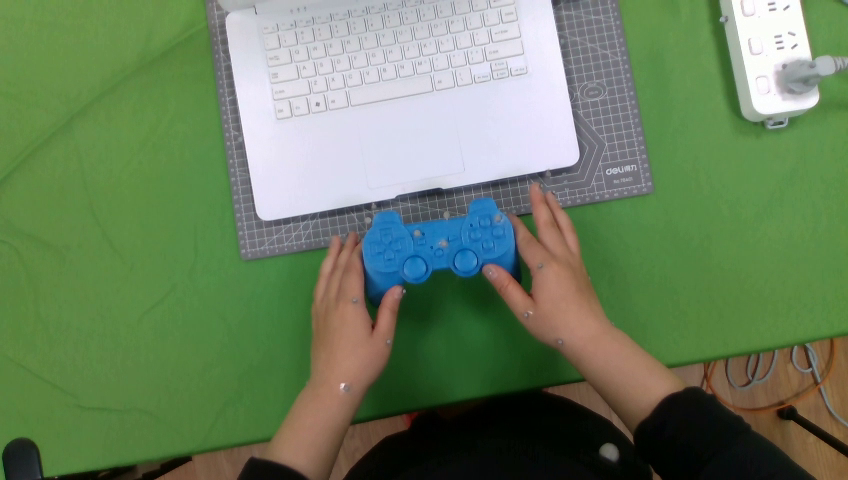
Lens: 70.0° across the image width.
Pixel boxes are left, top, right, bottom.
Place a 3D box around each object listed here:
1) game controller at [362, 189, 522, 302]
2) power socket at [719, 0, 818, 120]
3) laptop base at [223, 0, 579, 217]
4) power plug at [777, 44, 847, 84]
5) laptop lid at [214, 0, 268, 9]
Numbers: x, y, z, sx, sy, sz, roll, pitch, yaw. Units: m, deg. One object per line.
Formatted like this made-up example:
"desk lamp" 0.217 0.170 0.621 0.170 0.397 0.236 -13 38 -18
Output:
"game controller" 0.015 0.006 0.582 0.155 0.051 0.097 -8 95 2
"power socket" 0.356 -0.242 0.640 0.072 0.032 0.226 -9 85 3
"laptop base" -0.028 -0.170 0.658 0.354 0.023 0.235 -11 89 1
"power plug" 0.397 -0.176 0.614 0.072 0.053 0.035 2 85 -2
"laptop lid" -0.060 -0.312 0.550 0.357 0.243 0.013 -11 77 3
